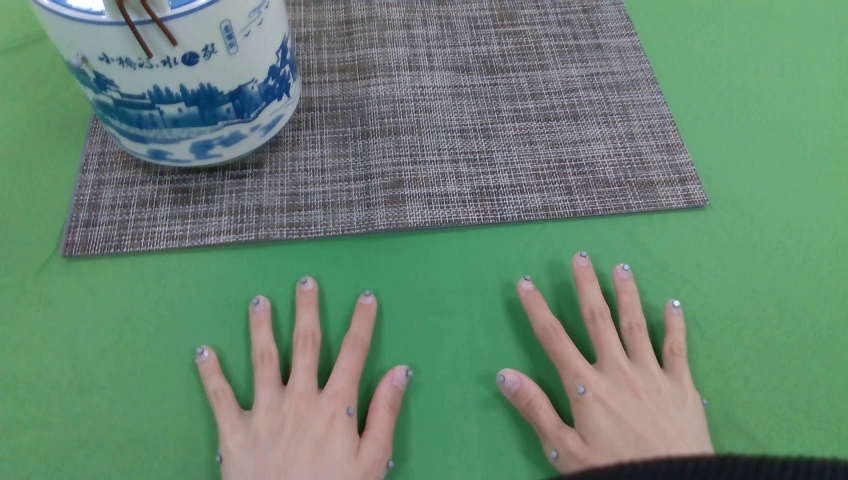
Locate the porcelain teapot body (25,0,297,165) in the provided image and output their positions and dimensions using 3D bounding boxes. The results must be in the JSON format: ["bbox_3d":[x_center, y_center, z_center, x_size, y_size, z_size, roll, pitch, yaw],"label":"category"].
[{"bbox_3d":[-0.171,-0.184,0.388,0.145,0.227,0.203,-10,59,-8],"label":"porcelain teapot body"}]
